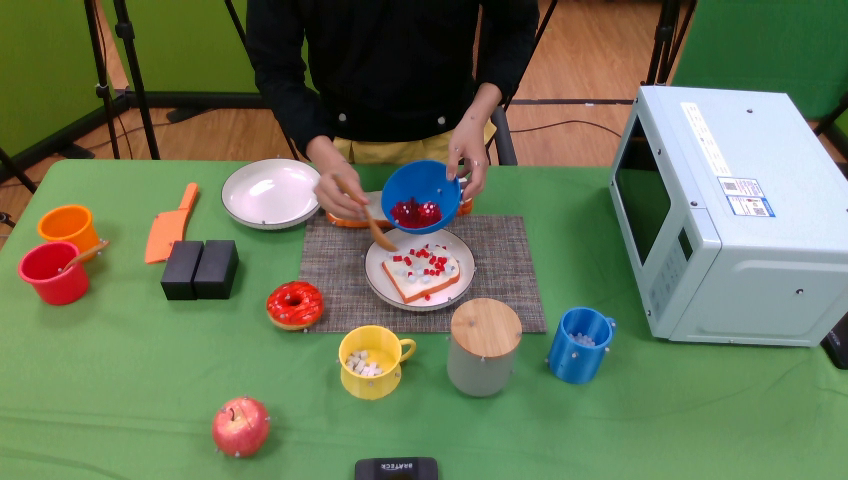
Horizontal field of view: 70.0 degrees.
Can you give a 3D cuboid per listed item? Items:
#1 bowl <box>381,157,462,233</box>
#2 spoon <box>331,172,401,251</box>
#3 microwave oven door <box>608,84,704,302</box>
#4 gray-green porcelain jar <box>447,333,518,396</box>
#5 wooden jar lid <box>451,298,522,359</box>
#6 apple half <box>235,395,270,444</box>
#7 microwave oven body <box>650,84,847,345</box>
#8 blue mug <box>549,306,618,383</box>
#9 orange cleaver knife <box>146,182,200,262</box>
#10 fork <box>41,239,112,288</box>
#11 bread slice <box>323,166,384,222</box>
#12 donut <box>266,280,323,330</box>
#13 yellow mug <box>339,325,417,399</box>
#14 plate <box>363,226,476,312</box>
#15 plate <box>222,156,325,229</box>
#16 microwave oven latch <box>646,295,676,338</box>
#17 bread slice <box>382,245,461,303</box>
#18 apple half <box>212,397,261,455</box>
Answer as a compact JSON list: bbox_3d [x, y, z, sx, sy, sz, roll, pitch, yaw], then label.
[{"bbox_3d":[0.003,-0.069,1.119,0.151,0.077,0.150,-7,61,13],"label":"bowl"},{"bbox_3d":[-0.094,-0.043,0.994,0.041,0.195,0.021,10,54,45],"label":"spoon"},{"bbox_3d":[0.424,-0.096,1.138,0.039,0.245,0.353,2,47,-1],"label":"microwave oven door"},{"bbox_3d":[0.091,0.178,0.960,0.106,0.127,0.105,2,46,-2],"label":"gray-green porcelain jar"},{"bbox_3d":[0.093,0.135,0.914,0.108,0.021,0.107,2,48,-3],"label":"wooden jar lid"},{"bbox_3d":[-0.245,0.259,0.893,0.033,0.082,0.081,-29,55,-21],"label":"apple half"},{"bbox_3d":[0.569,-0.054,1.116,0.326,0.261,0.439,2,46,-1],"label":"microwave oven body"},{"bbox_3d":[0.269,0.167,0.997,0.116,0.106,0.082,-19,50,-21],"label":"blue mug"},{"bbox_3d":[-0.494,-0.039,1.198,0.077,0.012,0.210,-4,48,2],"label":"orange cleaver knife"},{"bbox_3d":[-0.591,0.040,1.028,0.207,0.019,0.028,-27,37,29],"label":"fork"},{"bbox_3d":[-0.140,-0.092,1.224,0.134,0.018,0.106,-19,51,6],"label":"bread slice"},{"bbox_3d":[-0.223,0.112,1.051,0.099,0.048,0.098,2,46,-2],"label":"donut"},{"bbox_3d":[-0.072,0.190,0.978,0.131,0.064,0.099,-17,50,-20],"label":"yellow mug"},{"bbox_3d":[-0.009,0.054,1.126,0.208,0.039,0.206,2,47,-2],"label":"plate"},{"bbox_3d":[-0.308,-0.095,1.251,0.209,0.038,0.208,3,47,-3],"label":"plate"},{"bbox_3d":[0.413,0.133,1.060,0.030,0.029,0.078,4,46,1],"label":"microwave oven latch"},{"bbox_3d":[0.001,0.055,1.129,0.131,0.019,0.104,-21,52,-20],"label":"bread slice"},{"bbox_3d":[-0.276,0.276,0.877,0.053,0.075,0.080,-29,58,-21],"label":"apple half"}]
